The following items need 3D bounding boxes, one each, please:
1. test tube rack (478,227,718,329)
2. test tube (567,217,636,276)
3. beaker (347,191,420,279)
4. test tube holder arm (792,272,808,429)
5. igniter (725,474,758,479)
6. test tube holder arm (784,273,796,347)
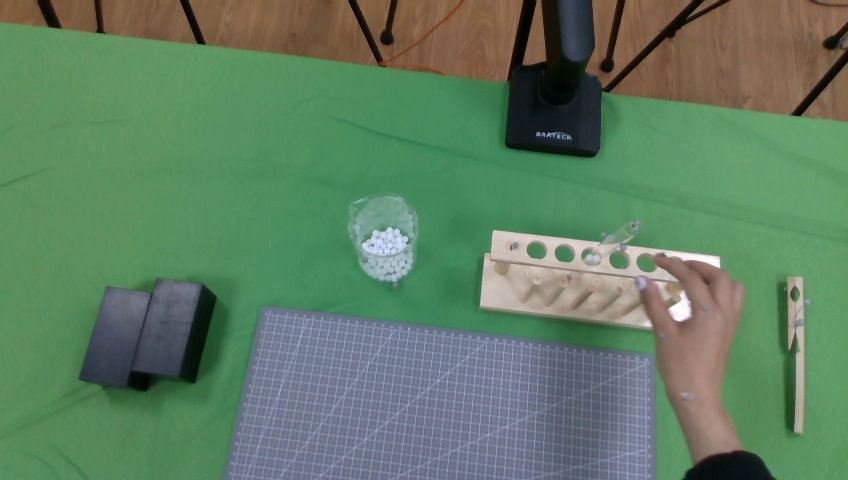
[{"bbox_3d":[0.188,0.045,0.676,0.242,0.085,0.066,7,70,1],"label":"test tube rack"},{"bbox_3d":[0.181,0.011,0.634,0.017,0.151,0.017,3,70,-7],"label":"test tube"},{"bbox_3d":[-0.047,-0.003,0.678,0.083,0.101,0.074,34,72,11],"label":"beaker"},{"bbox_3d":[0.426,0.123,0.688,0.013,0.015,0.177,-6,65,34],"label":"test tube holder arm"},{"bbox_3d":[0.302,0.373,0.591,0.057,0.025,0.275,17,70,-6],"label":"igniter"},{"bbox_3d":[0.428,0.081,0.706,0.010,0.015,0.087,-5,66,35],"label":"test tube holder arm"}]
